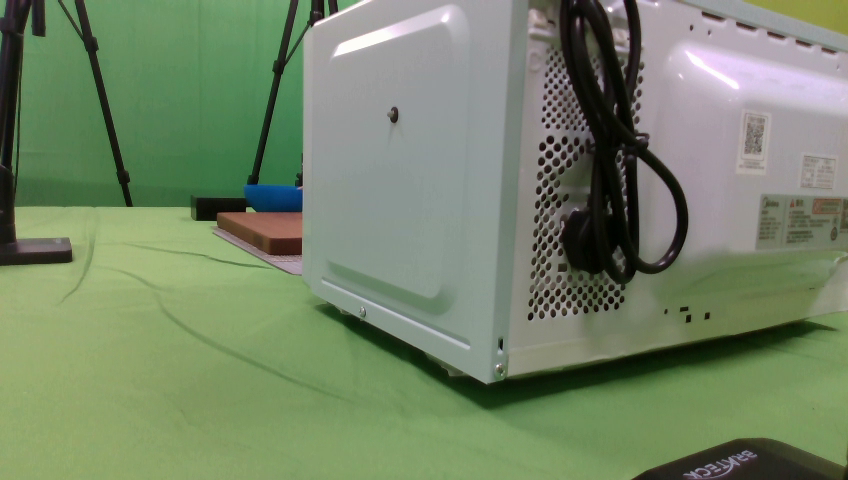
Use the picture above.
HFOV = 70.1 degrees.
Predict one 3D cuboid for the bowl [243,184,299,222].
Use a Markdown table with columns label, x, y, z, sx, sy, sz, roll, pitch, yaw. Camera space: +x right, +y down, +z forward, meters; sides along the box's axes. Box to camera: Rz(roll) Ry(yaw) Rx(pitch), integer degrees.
| label | x | y | z | sx | sy | sz | roll | pitch | yaw |
| --- | --- | --- | --- | --- | --- | --- | --- | --- | --- |
| bowl | -0.321 | -0.081 | 1.334 | 0.151 | 0.077 | 0.151 | 3 | 7 | 0 |

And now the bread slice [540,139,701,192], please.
| label | x | y | z | sx | sy | sz | roll | pitch | yaw |
| --- | --- | --- | --- | --- | --- | --- | --- | --- | --- |
| bread slice | 0.195 | -0.073 | 0.585 | 0.107 | 0.018 | 0.133 | -2 | 21 | -37 |

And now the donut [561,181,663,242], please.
| label | x | y | z | sx | sy | sz | roll | pitch | yaw |
| --- | --- | --- | --- | --- | --- | --- | --- | --- | --- |
| donut | 0.186 | -0.030 | 0.603 | 0.099 | 0.048 | 0.099 | 10 | -9 | 2 |

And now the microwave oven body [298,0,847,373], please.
| label | x | y | z | sx | sy | sz | roll | pitch | yaw |
| --- | --- | --- | --- | --- | --- | --- | --- | --- | --- |
| microwave oven body | 0.151 | -0.055 | 0.543 | 0.444 | 0.260 | 0.324 | -1 | 7 | -33 |

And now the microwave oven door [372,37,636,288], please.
| label | x | y | z | sx | sy | sz | roll | pitch | yaw |
| --- | --- | --- | --- | --- | --- | --- | --- | --- | --- |
| microwave oven door | 0.110 | -0.080 | 0.686 | 0.358 | 0.243 | 0.039 | -2 | 9 | -33 |

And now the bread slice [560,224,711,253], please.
| label | x | y | z | sx | sy | sz | roll | pitch | yaw |
| --- | --- | --- | --- | --- | --- | --- | --- | --- | --- |
| bread slice | 0.206 | -0.003 | 0.579 | 0.105 | 0.019 | 0.131 | 3 | 3 | -13 |

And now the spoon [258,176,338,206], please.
| label | x | y | z | sx | sy | sz | roll | pitch | yaw |
| --- | --- | --- | --- | --- | --- | --- | --- | --- | --- |
| spoon | -0.279 | -0.112 | 1.357 | 0.194 | 0.021 | 0.041 | -28 | 18 | -27 |

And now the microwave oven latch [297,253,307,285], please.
| label | x | y | z | sx | sy | sz | roll | pitch | yaw |
| --- | --- | --- | --- | --- | --- | --- | --- | --- | --- |
| microwave oven latch | -0.082 | 0.027 | 0.583 | 0.079 | 0.029 | 0.030 | -2 | 8 | -33 |
